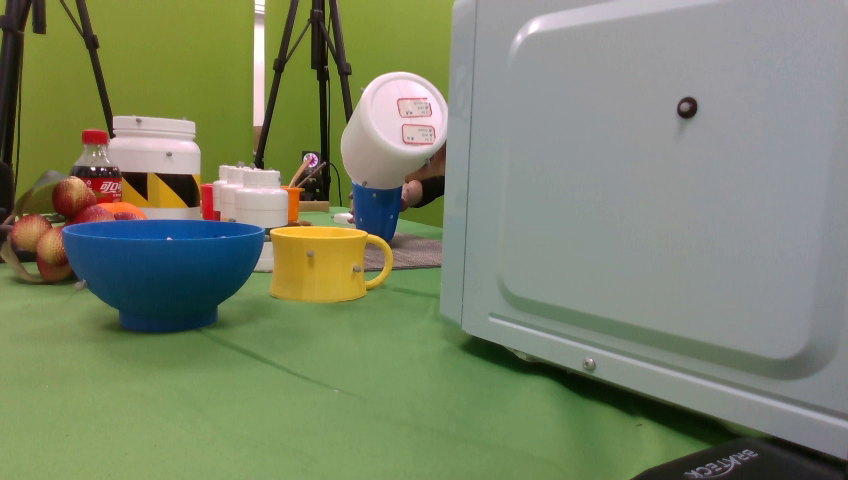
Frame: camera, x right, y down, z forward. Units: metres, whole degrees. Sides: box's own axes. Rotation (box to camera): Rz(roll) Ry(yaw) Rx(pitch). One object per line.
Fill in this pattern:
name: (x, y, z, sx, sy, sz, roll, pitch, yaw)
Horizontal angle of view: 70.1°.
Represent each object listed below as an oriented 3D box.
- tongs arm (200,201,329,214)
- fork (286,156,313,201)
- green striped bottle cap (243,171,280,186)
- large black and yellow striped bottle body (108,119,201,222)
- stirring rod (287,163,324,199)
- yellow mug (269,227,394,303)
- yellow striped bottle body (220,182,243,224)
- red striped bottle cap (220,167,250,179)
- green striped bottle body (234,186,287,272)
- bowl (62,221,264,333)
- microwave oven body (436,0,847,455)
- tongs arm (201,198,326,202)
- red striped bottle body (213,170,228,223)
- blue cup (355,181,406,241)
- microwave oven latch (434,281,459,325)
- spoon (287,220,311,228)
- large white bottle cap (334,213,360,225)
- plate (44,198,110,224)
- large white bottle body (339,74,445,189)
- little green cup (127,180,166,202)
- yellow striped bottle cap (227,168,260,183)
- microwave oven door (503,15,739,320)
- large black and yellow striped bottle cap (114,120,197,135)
tongs arm: (-0.378, -0.079, 1.440, 0.387, 0.026, 0.050, -4, 8, -44)
fork: (-0.288, -0.117, 1.319, 0.028, 0.019, 0.207, -8, 45, 33)
green striped bottle cap: (-0.198, -0.074, 0.736, 0.044, 0.020, 0.044, 1, 7, 0)
large black and yellow striped bottle body: (-0.412, -0.088, 0.930, 0.131, 0.184, 0.130, 3, 7, 0)
stirring rod: (-0.278, -0.105, 1.293, 0.176, 0.006, 0.014, -46, 25, -18)
yellow mug: (-0.094, 0.023, 0.629, 0.131, 0.064, 0.099, 0, 7, -22)
yellow striped bottle body: (-0.245, -0.036, 0.825, 0.063, 0.120, 0.063, 3, 8, 0)
red striped bottle cap: (-0.281, -0.099, 0.901, 0.044, 0.017, 0.044, -1, 5, 0)
green striped bottle body: (-0.200, -0.023, 0.743, 0.063, 0.119, 0.063, 2, 7, 0)
bowl: (-0.209, 0.029, 0.496, 0.151, 0.077, 0.151, 2, 7, 0)
microwave oven body: (0.279, -0.040, 0.465, 0.444, 0.260, 0.324, -3, 9, -41)
tongs arm: (-0.433, -0.090, 1.508, 0.390, 0.028, 0.028, -1, 3, -29)
red striped bottle body: (-0.284, -0.047, 0.909, 0.063, 0.119, 0.063, 2, 13, 0)
blue cup: (-0.073, -0.054, 1.005, 0.093, 0.100, 0.092, 2, 18, 0)
microwave oven latch: (0.044, 0.045, 0.470, 0.079, 0.029, 0.030, -2, 8, -39)
spoon: (-0.232, -0.027, 1.116, 0.041, 0.021, 0.193, -22, 6, 4)
large white bottle cap: (-0.145, -0.048, 1.355, 0.115, 0.018, 0.115, 2, 8, 0)
plate: (-0.617, -0.056, 1.179, 0.209, 0.038, 0.209, 3, 7, 0)
large white bottle body: (-0.053, -0.152, 0.906, 0.131, 0.130, 0.184, 0, -11, -20)
little green cup: (-0.486, -0.086, 1.061, 0.061, 0.038, 0.061, 1, 7, 0)
yellow striped bottle cap: (-0.243, -0.087, 0.818, 0.044, 0.018, 0.044, 4, 6, 0)
microwave oven door: (0.218, -0.065, 0.600, 0.358, 0.243, 0.039, -4, 10, -41)
large black and yellow striped bottle cap: (-0.407, -0.171, 0.920, 0.115, 0.019, 0.115, 2, 9, 0)
